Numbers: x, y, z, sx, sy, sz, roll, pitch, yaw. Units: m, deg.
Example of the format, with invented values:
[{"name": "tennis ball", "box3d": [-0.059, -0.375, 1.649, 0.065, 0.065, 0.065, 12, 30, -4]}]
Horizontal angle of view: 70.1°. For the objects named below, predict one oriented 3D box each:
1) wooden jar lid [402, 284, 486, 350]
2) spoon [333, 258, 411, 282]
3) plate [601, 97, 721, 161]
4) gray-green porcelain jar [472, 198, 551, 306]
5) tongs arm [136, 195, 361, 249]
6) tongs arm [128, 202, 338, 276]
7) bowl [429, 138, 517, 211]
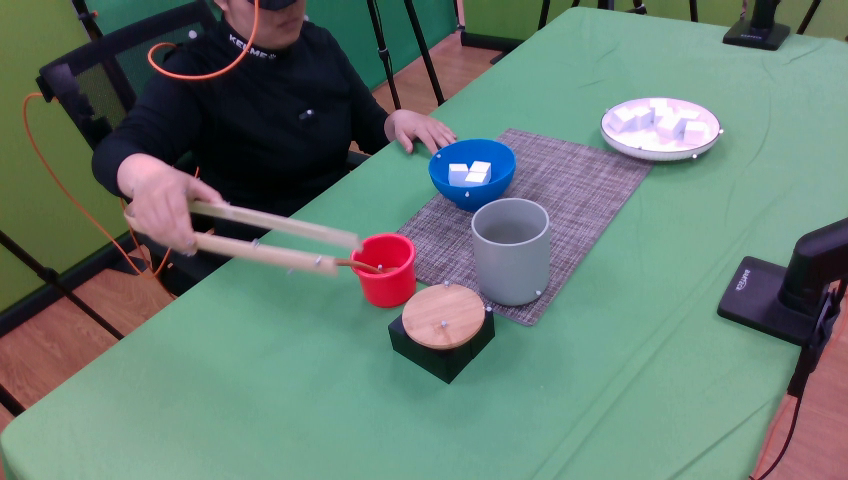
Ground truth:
[{"name": "wooden jar lid", "box3d": [0.026, 0.101, 0.786, 0.108, 0.021, 0.108, -5, 39, 4]}, {"name": "spoon", "box3d": [-0.092, 0.038, 0.865, 0.195, 0.021, 0.041, 16, 14, -46]}, {"name": "plate", "box3d": [0.436, -0.203, 1.126, 0.209, 0.038, 0.208, -5, 39, 5]}, {"name": "gray-green porcelain jar", "box3d": [0.125, 0.021, 0.850, 0.106, 0.127, 0.105, -6, 40, 5]}, {"name": "tongs arm", "box3d": [-0.247, -0.026, 0.814, 0.385, 0.028, 0.028, 10, 49, 27]}, {"name": "tongs arm", "box3d": [-0.262, -0.007, 0.795, 0.382, 0.027, 0.051, 8, 45, 26]}, {"name": "bowl", "box3d": [0.087, -0.104, 1.043, 0.151, 0.077, 0.150, -6, 40, 5]}]
